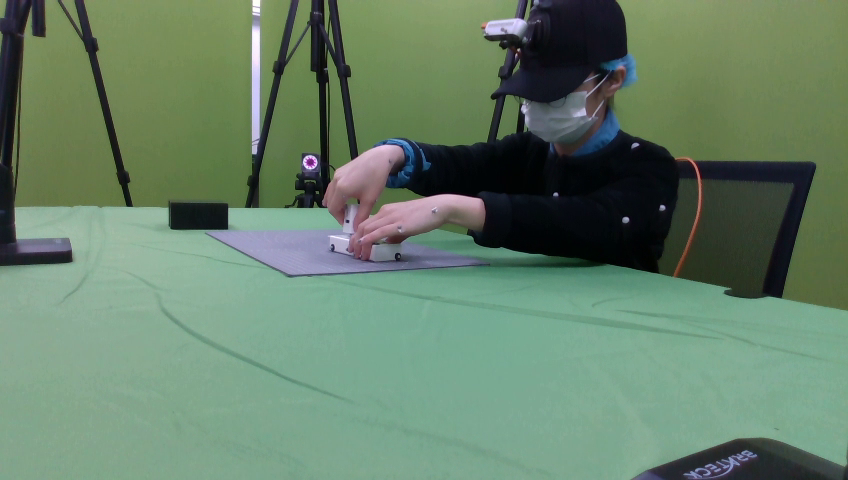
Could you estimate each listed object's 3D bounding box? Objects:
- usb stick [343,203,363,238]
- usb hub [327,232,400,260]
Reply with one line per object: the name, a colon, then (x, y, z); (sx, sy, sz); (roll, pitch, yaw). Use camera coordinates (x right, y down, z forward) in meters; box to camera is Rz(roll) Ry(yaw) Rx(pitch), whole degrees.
usb stick: (-0.107, -0.027, 0.915); (0.027, 0.059, 0.021); (-9, 13, -44)
usb hub: (-0.092, 0.008, 0.892); (0.050, 0.025, 0.124); (-6, 10, -40)
